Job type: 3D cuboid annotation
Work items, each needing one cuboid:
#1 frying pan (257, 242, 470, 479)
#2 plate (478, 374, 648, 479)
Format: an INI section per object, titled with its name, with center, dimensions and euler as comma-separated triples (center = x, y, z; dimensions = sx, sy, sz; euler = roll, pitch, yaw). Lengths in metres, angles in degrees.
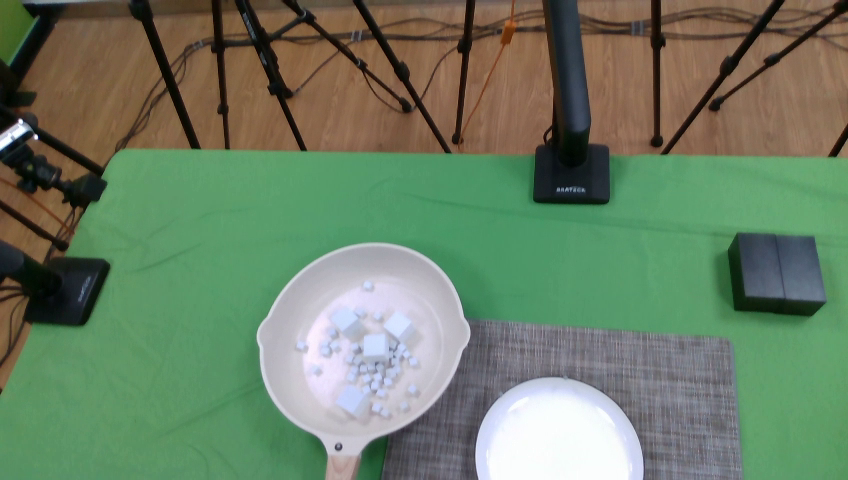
[frying pan]
center = -0.095, 0.225, 0.804
dimensions = 0.306, 0.104, 0.483
euler = -1, 52, 12
[plate]
center = 0.173, 0.275, 0.767
dimensions = 0.207, 0.039, 0.206
euler = -4, 60, 8
